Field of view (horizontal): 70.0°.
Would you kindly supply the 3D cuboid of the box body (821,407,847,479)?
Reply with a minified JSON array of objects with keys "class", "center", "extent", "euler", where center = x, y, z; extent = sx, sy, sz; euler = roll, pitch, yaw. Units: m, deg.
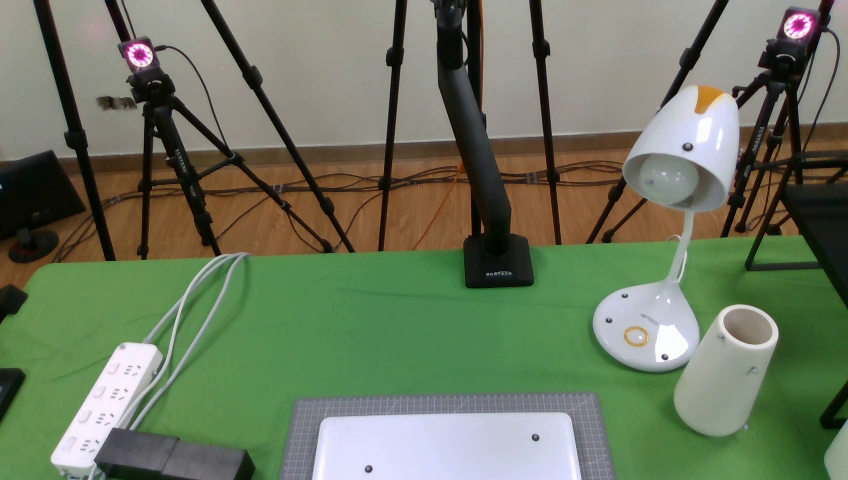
[{"class":"box body","center":[0.629,0.338,0.631],"extent":[0.254,0.162,0.360],"euler":[-1,45,4]}]

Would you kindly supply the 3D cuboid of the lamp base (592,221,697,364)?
[{"class":"lamp base","center":[0.351,0.066,0.913],"extent":[0.159,0.182,0.179],"euler":[24,49,26]}]

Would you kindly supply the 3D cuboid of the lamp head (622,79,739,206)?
[{"class":"lamp head","center":[0.294,-0.113,0.671],"extent":[0.111,0.113,0.122],"euler":[21,68,24]}]

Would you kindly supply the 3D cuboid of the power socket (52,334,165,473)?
[{"class":"power socket","center":[-0.466,0.234,0.907],"extent":[0.072,0.033,0.225],"euler":[5,45,8]}]

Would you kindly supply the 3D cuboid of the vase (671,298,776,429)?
[{"class":"vase","center":[0.392,0.164,0.798],"extent":[0.098,0.202,0.097],"euler":[-3,44,3]}]

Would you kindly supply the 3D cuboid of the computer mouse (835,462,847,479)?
[{"class":"computer mouse","center":[0.559,0.319,0.735],"extent":[0.063,0.041,0.116],"euler":[-8,37,3]}]

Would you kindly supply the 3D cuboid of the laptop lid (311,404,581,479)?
[{"class":"laptop lid","center":[0.026,0.321,0.778],"extent":[0.356,0.013,0.239],"euler":[-1,47,4]}]

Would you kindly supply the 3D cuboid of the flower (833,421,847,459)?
[{"class":"flower","center":[0.554,0.373,0.660],"extent":[0.038,0.044,0.358],"euler":[-36,45,32]}]

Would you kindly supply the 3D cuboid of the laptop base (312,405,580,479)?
[{"class":"laptop base","center":[0.027,0.327,0.788],"extent":[0.354,0.023,0.233],"euler":[-2,48,2]}]
